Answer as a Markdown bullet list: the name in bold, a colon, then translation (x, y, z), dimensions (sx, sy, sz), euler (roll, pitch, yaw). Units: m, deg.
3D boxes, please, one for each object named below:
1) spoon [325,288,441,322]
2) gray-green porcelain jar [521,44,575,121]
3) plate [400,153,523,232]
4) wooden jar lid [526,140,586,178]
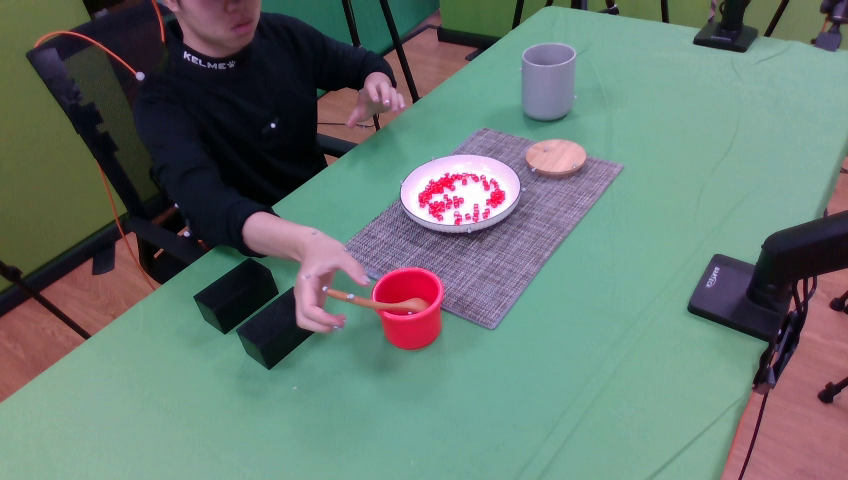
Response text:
- **spoon**: translation (-0.047, 0.084, 0.776), dimensions (0.195, 0.021, 0.041), euler (13, 26, -42)
- **gray-green porcelain jar**: translation (0.249, -0.313, 1.219), dimensions (0.106, 0.127, 0.105), euler (-4, 41, 4)
- **plate**: translation (0.065, -0.078, 1.034), dimensions (0.207, 0.039, 0.206), euler (-4, 41, 4)
- **wooden jar lid**: translation (0.240, -0.147, 1.103), dimensions (0.108, 0.021, 0.108), euler (-4, 42, 4)
